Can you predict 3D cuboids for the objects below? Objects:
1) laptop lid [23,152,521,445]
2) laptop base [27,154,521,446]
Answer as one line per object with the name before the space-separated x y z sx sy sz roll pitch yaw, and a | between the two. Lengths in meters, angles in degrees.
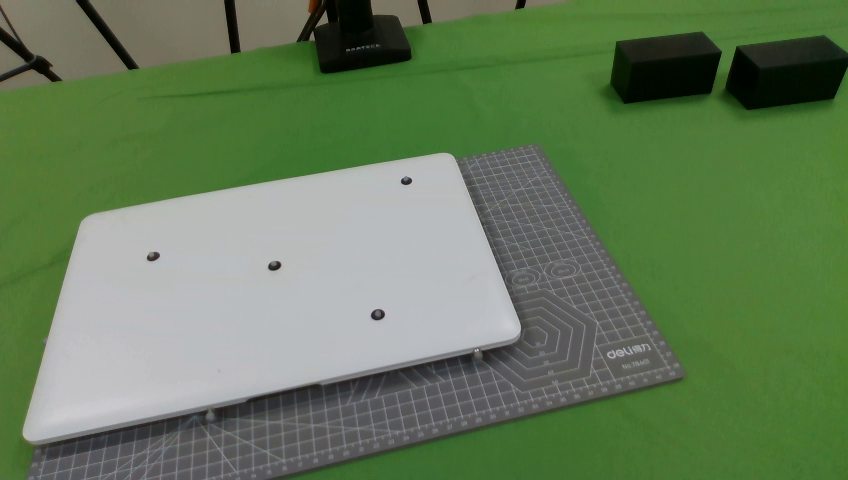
laptop lid | -0.121 0.025 0.499 0.357 0.013 0.239 -10 46 -5
laptop base | -0.121 0.032 0.508 0.355 0.023 0.233 -11 47 -6
